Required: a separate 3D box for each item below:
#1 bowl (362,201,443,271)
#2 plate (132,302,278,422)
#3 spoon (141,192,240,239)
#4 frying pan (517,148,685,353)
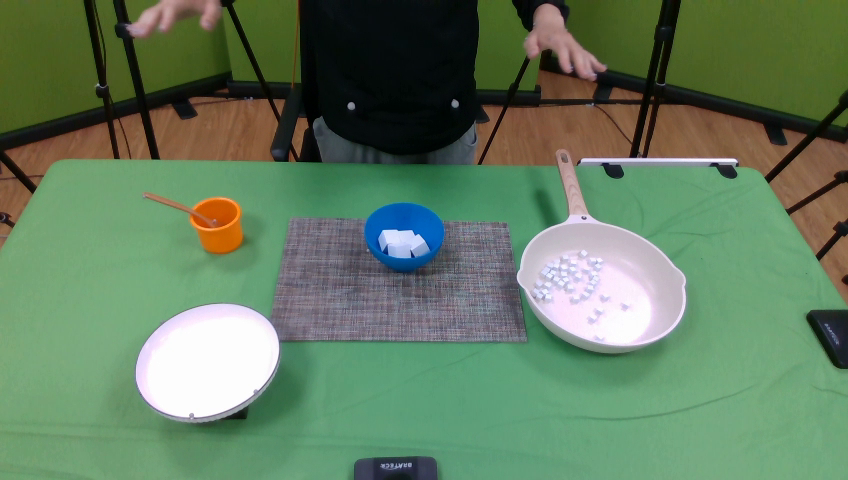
[{"bbox_3d":[-0.041,0.006,1.145,0.151,0.077,0.150,2,46,-2],"label":"bowl"},{"bbox_3d":[-0.325,0.186,0.916,0.208,0.039,0.206,3,44,-2],"label":"plate"},{"bbox_3d":[-0.428,-0.048,1.123,0.021,0.195,0.041,-38,44,20],"label":"spoon"},{"bbox_3d":[0.310,0.002,1.163,0.307,0.103,0.484,0,55,-5],"label":"frying pan"}]
